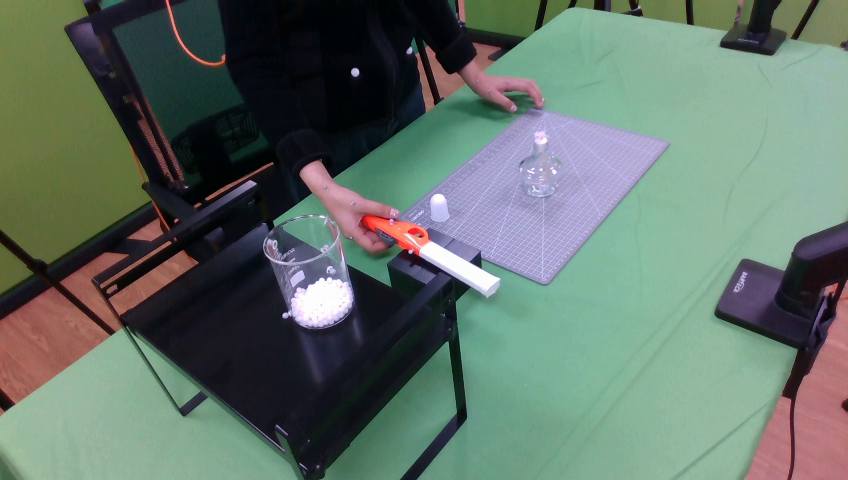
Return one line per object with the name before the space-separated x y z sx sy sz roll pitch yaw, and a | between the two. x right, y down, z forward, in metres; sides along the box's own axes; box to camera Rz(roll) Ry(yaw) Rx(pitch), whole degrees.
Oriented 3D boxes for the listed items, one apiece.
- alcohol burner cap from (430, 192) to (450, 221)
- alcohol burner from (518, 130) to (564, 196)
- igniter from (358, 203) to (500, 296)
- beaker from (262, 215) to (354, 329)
alcohol burner cap | 0.025 -0.059 1.020 0.034 0.048 0.033 -4 41 4
alcohol burner | 0.199 -0.135 1.027 0.078 0.119 0.077 -5 42 5
igniter | -0.004 0.007 0.891 0.274 0.025 0.057 30 47 33
beaker | -0.112 0.034 0.616 0.073 0.101 0.084 13 44 23
